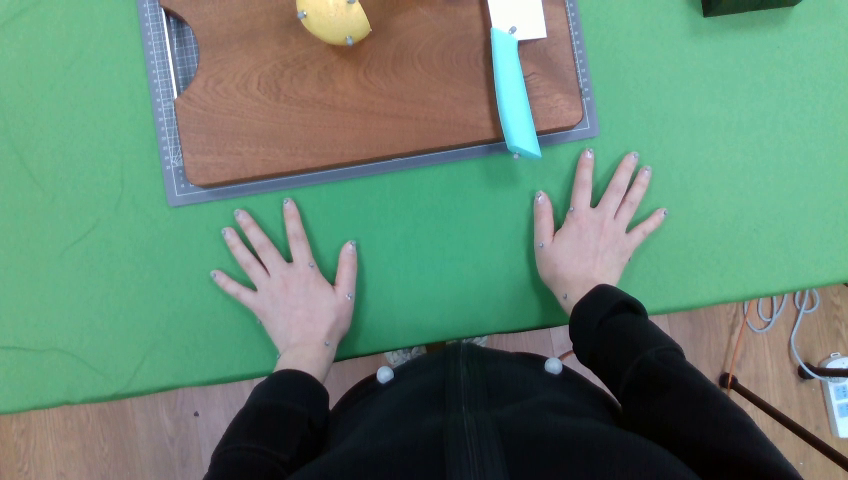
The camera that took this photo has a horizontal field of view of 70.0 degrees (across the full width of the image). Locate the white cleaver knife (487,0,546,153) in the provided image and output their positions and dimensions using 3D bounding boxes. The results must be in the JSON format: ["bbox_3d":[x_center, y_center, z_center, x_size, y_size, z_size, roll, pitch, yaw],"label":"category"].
[{"bbox_3d":[0.090,-0.228,0.598,0.066,0.021,0.286,-9,90,-12],"label":"white cleaver knife"}]

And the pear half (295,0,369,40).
[{"bbox_3d":[-0.090,-0.221,0.549,0.056,0.110,0.076,-40,85,-2],"label":"pear half"}]
